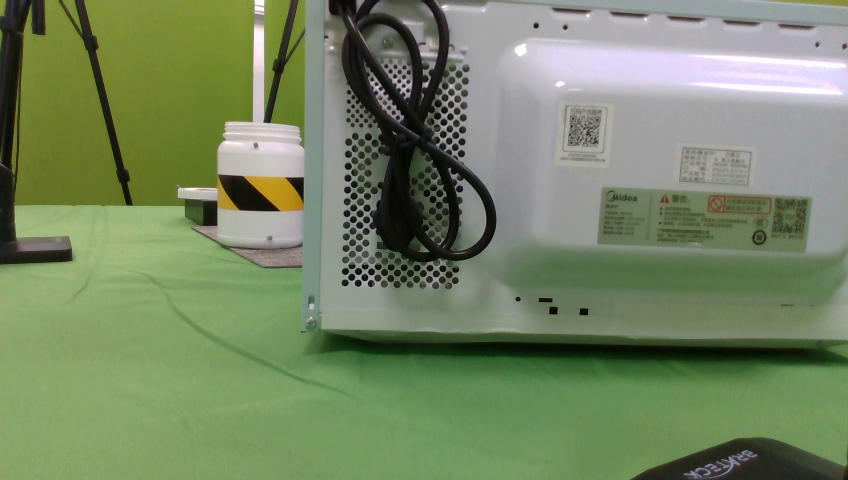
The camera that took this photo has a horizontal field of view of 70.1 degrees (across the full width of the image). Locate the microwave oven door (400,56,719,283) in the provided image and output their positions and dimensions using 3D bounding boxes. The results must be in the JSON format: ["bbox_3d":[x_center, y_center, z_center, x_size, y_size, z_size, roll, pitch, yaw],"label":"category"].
[{"bbox_3d":[0.155,-0.077,0.698,0.356,0.243,0.039,2,8,-5],"label":"microwave oven door"}]

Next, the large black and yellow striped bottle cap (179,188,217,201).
[{"bbox_3d":[-0.435,-0.093,1.226,0.115,0.019,0.115,3,9,0],"label":"large black and yellow striped bottle cap"}]

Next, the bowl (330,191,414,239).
[{"bbox_3d":[-0.095,-0.044,1.096,0.151,0.077,0.151,3,8,0],"label":"bowl"}]

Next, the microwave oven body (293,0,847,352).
[{"bbox_3d":[0.122,-0.055,0.550,0.442,0.260,0.325,3,7,-5],"label":"microwave oven body"}]

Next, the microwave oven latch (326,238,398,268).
[{"bbox_3d":[-0.070,0.015,0.693,0.079,0.029,0.030,3,7,0],"label":"microwave oven latch"}]

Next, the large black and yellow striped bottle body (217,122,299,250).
[{"bbox_3d":[-0.250,-0.084,0.931,0.131,0.184,0.130,3,7,0],"label":"large black and yellow striped bottle body"}]
